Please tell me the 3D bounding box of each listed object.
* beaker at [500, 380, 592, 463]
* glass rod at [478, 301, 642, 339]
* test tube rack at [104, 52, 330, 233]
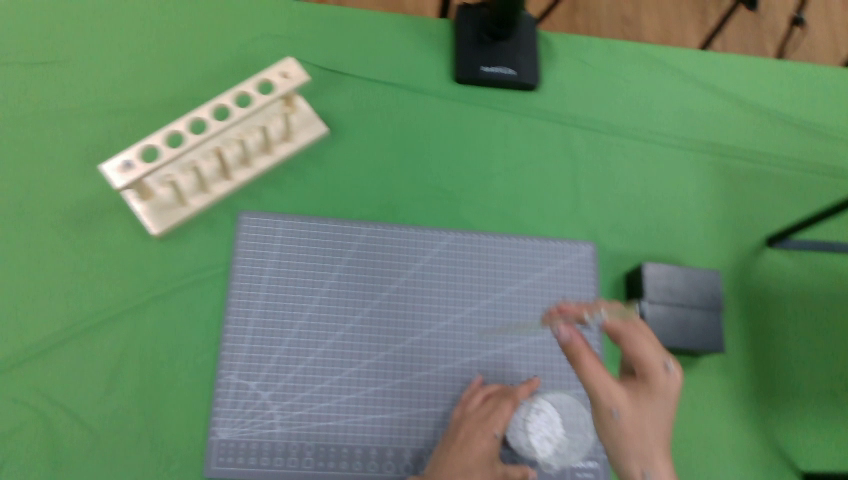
[{"bbox_3d":[0.127,0.198,0.657,0.074,0.100,0.083,22,71,-1],"label":"beaker"},{"bbox_3d":[0.089,0.063,0.450,0.008,0.199,0.008,6,74,-23],"label":"glass rod"},{"bbox_3d":[-0.227,-0.113,0.701,0.242,0.085,0.066,-36,81,-17],"label":"test tube rack"}]
